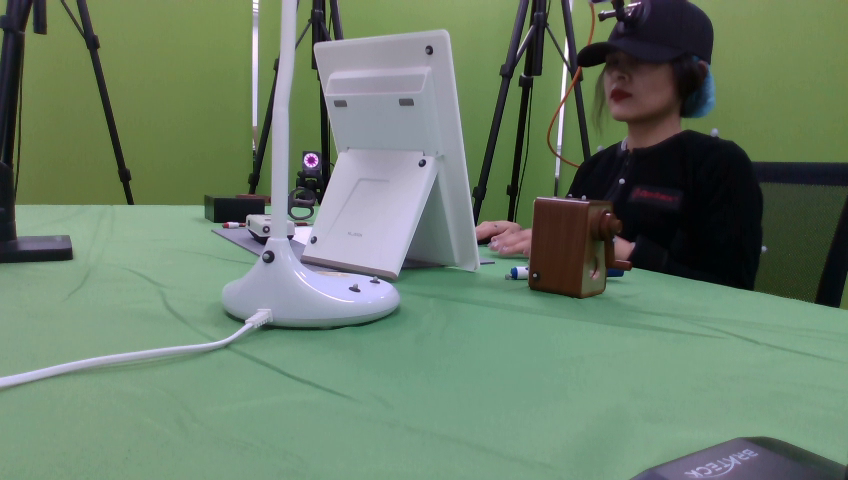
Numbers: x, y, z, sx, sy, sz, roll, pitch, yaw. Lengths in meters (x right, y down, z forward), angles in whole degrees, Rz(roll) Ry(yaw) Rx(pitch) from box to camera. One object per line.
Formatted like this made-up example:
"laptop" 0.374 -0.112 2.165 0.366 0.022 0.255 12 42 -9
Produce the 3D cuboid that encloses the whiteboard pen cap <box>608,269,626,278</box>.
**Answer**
"whiteboard pen cap" 0.237 0.039 0.767 0.033 0.018 0.018 -2 8 -8

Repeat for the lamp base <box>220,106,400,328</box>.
"lamp base" -0.102 -0.023 0.531 0.160 0.180 0.179 4 10 10

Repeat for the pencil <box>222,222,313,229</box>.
"pencil" -0.302 -0.030 1.189 0.195 0.012 0.012 -2 9 -42

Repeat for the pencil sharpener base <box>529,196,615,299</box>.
"pencil sharpener base" 0.168 0.007 0.678 0.076 0.107 0.062 10 10 42

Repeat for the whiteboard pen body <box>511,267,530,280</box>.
"whiteboard pen body" 0.178 0.041 0.758 0.141 0.017 0.017 0 8 -8

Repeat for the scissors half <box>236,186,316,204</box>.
"scissors half" -0.320 -0.097 1.316 0.176 0.040 0.013 -3 14 -29

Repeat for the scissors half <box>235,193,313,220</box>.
"scissors half" -0.325 -0.077 1.320 0.176 0.040 0.012 17 8 -32

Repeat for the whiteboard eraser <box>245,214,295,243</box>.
"whiteboard eraser" -0.247 -0.018 0.965 0.056 0.042 0.112 0 8 -28

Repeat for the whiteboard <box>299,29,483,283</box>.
"whiteboard" -0.074 -0.082 0.742 0.216 0.305 0.144 9 29 37

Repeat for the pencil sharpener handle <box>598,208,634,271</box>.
"pencil sharpener handle" 0.208 0.000 0.645 0.030 0.068 0.036 10 23 42
